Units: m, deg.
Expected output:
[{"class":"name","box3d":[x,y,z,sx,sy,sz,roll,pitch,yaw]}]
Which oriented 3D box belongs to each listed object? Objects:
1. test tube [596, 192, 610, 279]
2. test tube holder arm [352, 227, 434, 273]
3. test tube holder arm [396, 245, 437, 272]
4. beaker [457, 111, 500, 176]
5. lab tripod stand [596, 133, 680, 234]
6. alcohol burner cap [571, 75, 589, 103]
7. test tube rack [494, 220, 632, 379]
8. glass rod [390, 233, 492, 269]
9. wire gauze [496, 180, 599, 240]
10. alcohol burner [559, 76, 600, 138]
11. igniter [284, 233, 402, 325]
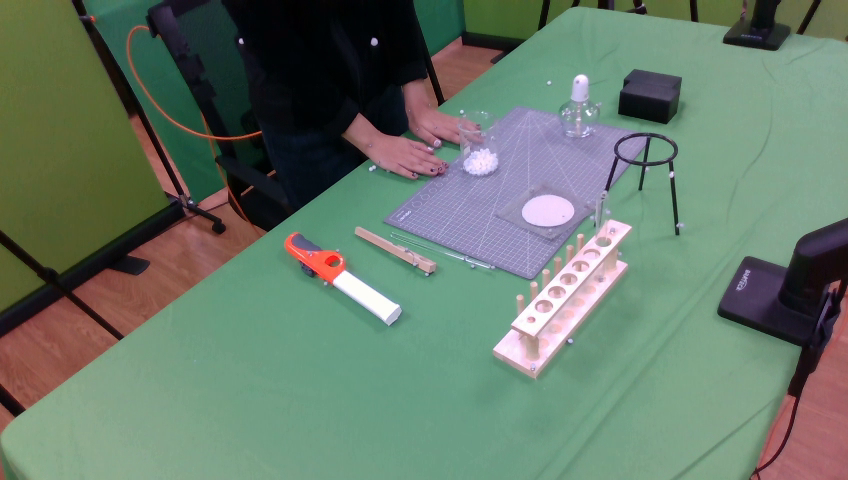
[{"class":"test tube","box3d":[0.240,-0.002,0.814,0.017,0.151,0.017,-7,42,7]},{"class":"test tube holder arm","box3d":[-0.053,0.014,0.978,0.177,0.015,0.013,25,16,34]},{"class":"test tube holder arm","box3d":[-0.016,0.029,0.957,0.087,0.015,0.010,25,16,35]},{"class":"beaker","box3d":[0.104,-0.176,1.108,0.073,0.101,0.084,16,46,27]},{"class":"lab tripod stand","box3d":[0.338,-0.090,0.940,0.148,0.132,0.147,-7,39,6]},{"class":"alcohol burner cap","box3d":[0.294,-0.284,1.132,0.034,0.048,0.033,-5,46,5]},{"class":"test tube rack","box3d":[0.191,0.068,0.818,0.066,0.085,0.243,25,51,35]},{"class":"glass rod","box3d":[0.023,0.017,0.971,0.198,0.008,0.008,18,48,32]},{"class":"wire gauze","box3d":[0.206,-0.050,1.012,0.125,0.011,0.120,-34,45,-26]},{"class":"alcohol burner","box3d":[0.298,-0.258,1.156,0.078,0.119,0.077,-4,39,4]},{"class":"igniter","box3d":[-0.136,0.054,0.942,0.274,0.025,0.057,30,63,37]}]
